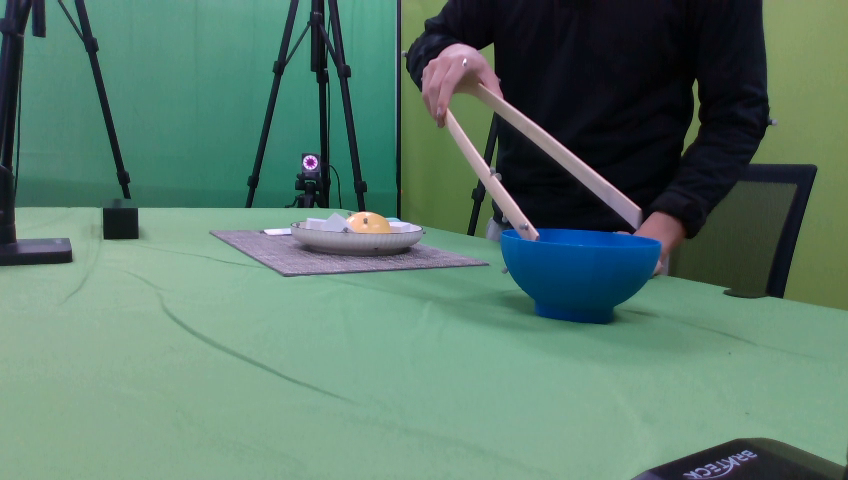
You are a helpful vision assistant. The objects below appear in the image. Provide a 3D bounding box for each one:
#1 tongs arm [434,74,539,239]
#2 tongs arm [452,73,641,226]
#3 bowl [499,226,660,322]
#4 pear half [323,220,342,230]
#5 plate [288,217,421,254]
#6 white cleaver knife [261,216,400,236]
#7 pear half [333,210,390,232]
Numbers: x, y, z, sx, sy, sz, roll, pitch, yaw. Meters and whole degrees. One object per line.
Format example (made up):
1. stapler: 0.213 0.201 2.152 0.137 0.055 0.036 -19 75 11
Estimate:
1. tongs arm: 0.070 -0.109 0.700 0.051 0.026 0.383 -16 38 -9
2. tongs arm: 0.126 -0.124 0.712 0.028 0.028 0.385 -22 40 -11
3. bowl: 0.145 0.032 0.583 0.151 0.077 0.151 2 7 0
4. pear half: -0.127 -0.019 1.001 0.088 0.031 0.070 8 4 0
5. plate: -0.109 -0.007 0.956 0.208 0.039 0.207 2 7 0
6. white cleaver knife: -0.169 -0.021 1.156 0.288 0.021 0.065 -7 20 -33
7. pear half: -0.107 -0.017 0.920 0.110 0.056 0.076 -5 5 -20
